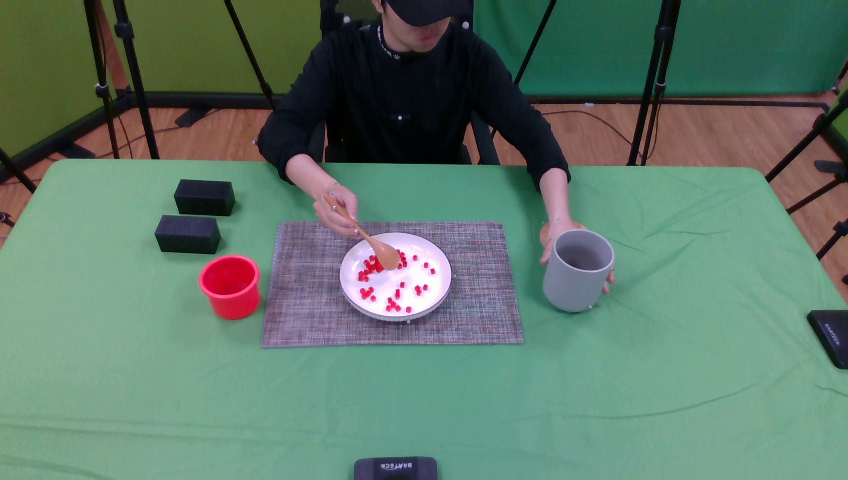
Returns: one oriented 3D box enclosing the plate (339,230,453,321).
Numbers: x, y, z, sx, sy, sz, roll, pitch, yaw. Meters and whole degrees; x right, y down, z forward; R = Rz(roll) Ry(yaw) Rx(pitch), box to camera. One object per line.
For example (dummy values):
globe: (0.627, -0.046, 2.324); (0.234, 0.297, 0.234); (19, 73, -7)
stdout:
plate: (-0.051, 0.067, 1.111); (0.208, 0.039, 0.206); (2, 46, -2)

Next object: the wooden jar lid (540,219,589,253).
wooden jar lid: (0.287, 0.001, 1.219); (0.108, 0.021, 0.107); (1, 46, -1)

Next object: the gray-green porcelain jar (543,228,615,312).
gray-green porcelain jar: (0.273, 0.059, 1.086); (0.106, 0.127, 0.105); (2, 46, -1)

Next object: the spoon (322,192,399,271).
spoon: (-0.113, -0.014, 1.075); (0.194, 0.021, 0.041); (44, 69, -20)
